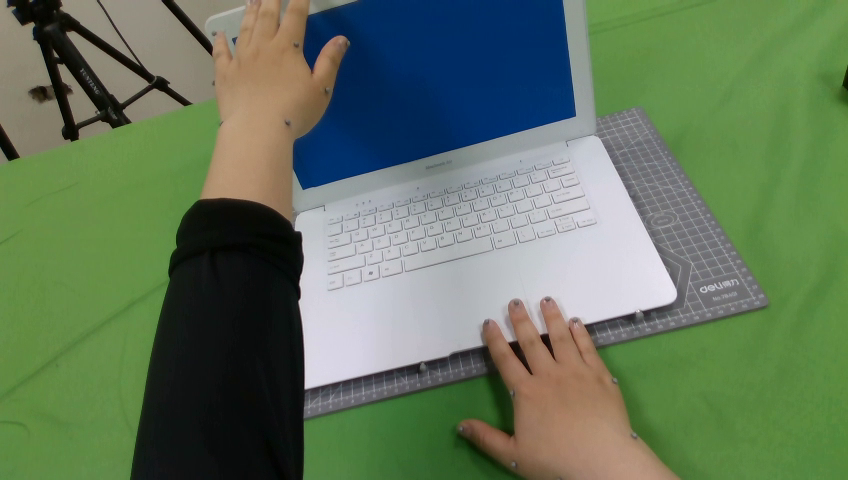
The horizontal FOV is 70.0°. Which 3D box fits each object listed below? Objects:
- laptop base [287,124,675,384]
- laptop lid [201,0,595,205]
[{"bbox_3d":[0.034,0.005,0.607,0.354,0.023,0.233,-15,50,6],"label":"laptop base"},{"bbox_3d":[-0.011,-0.168,0.613,0.356,0.244,0.013,-16,39,7],"label":"laptop lid"}]
